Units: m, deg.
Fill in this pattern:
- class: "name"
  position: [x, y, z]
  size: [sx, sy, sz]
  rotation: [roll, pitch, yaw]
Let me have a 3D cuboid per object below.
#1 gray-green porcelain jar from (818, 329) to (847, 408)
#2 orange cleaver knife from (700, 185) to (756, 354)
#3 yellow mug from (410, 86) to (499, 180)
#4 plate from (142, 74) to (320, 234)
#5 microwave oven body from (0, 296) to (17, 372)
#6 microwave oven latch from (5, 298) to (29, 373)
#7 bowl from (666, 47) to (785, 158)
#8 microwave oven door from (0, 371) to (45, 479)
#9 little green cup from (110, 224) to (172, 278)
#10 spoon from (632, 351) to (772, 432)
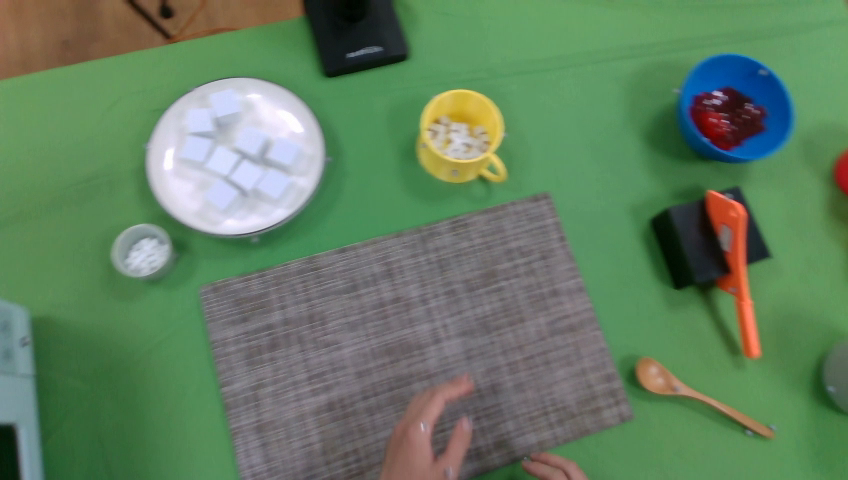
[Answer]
- class: "gray-green porcelain jar"
  position: [0.546, 0.150, 0.711]
  size: [0.106, 0.127, 0.105]
  rotation: [2, 74, -6]
- class: "orange cleaver knife"
  position: [0.373, 0.035, 0.747]
  size: [0.012, 0.077, 0.212]
  rotation: [-15, 100, -6]
- class: "yellow mug"
  position: [0.046, -0.125, 0.766]
  size: [0.130, 0.064, 0.100]
  rotation: [43, 75, 6]
- class: "plate"
  position: [-0.232, -0.104, 0.746]
  size: [0.208, 0.039, 0.206]
  rotation: [2, 75, -5]
- class: "microwave oven body"
  position: [-0.534, 0.275, 0.490]
  size: [0.326, 0.261, 0.439]
  rotation: [-13, 77, -10]
- class: "microwave oven latch"
  position: [-0.445, 0.103, 0.647]
  size: [0.030, 0.029, 0.078]
  rotation: [-12, 77, -10]
- class: "bowl"
  position: [0.385, -0.170, 0.807]
  size: [0.151, 0.077, 0.150]
  rotation: [2, 75, -5]
- class: "microwave oven door"
  position: [-0.382, 0.281, 0.500]
  size: [0.039, 0.244, 0.354]
  rotation: [-13, 76, -9]
- class: "little green cup"
  position: [-0.324, 0.015, 0.701]
  size: [0.062, 0.039, 0.061]
  rotation: [2, 75, -7]
- class: "spoon"
  position: [0.336, 0.188, 0.733]
  size: [0.194, 0.022, 0.041]
  rotation: [25, 55, 1]
